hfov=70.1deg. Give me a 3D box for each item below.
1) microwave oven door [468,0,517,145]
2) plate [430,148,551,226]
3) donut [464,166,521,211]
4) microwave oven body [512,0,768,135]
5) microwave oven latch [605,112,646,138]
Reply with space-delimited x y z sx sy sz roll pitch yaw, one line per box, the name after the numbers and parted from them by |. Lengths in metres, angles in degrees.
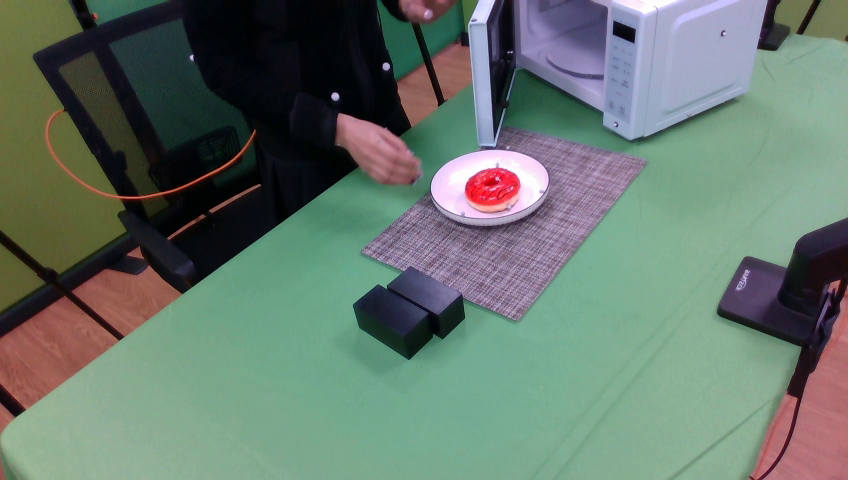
0.145 -0.388 1.216 0.039 0.245 0.355 3 42 15 | microwave oven door
0.114 -0.089 1.049 0.209 0.038 0.208 -5 40 5 | plate
0.117 -0.089 1.031 0.099 0.048 0.098 -7 41 7 | donut
0.410 -0.441 1.235 0.327 0.261 0.437 -25 42 -16 | microwave oven body
0.375 -0.217 1.130 0.030 0.029 0.078 -24 42 -16 | microwave oven latch
